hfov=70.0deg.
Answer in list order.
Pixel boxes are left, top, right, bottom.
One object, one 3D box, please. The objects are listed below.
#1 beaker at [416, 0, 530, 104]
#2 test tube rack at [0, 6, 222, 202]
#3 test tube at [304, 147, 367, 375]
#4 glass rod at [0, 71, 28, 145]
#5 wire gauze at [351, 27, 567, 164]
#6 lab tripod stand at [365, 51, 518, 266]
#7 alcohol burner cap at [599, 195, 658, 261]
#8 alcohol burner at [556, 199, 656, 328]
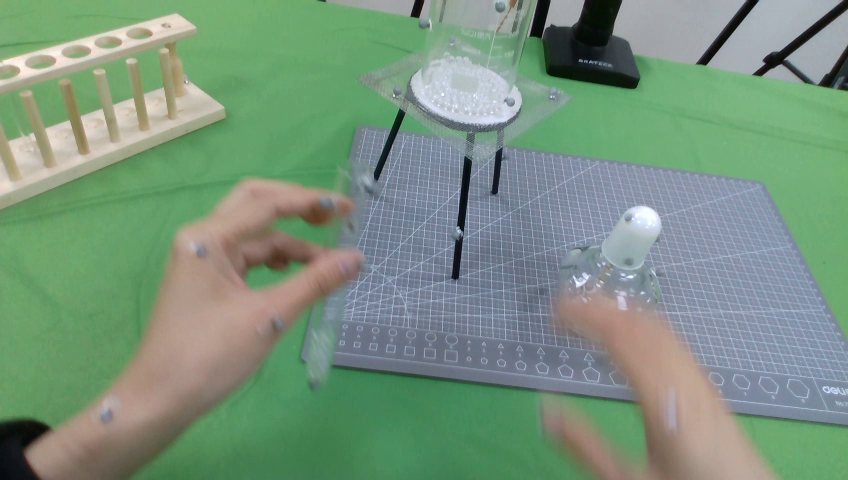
[{"bbox_3d":[0.032,-0.155,0.425,0.084,0.101,0.073,3,47,-7],"label":"beaker"},{"bbox_3d":[-0.303,-0.121,0.528,0.066,0.086,0.242,37,51,23],"label":"test tube rack"},{"bbox_3d":[-0.049,0.019,0.322,0.017,0.151,0.017,10,35,-7],"label":"test tube"},{"bbox_3d":[-0.343,-0.161,0.466,0.008,0.201,0.008,3,38,-2],"label":"glass rod"},{"bbox_3d":[0.028,-0.119,0.460,0.124,0.011,0.121,39,54,20],"label":"wire gauze"},{"bbox_3d":[0.022,-0.074,0.506,0.149,0.132,0.147,7,46,-7],"label":"lab tripod stand"},{"bbox_3d":[0.148,-0.011,0.433,0.034,0.048,0.033,5,50,-5],"label":"alcohol burner cap"},{"bbox_3d":[0.143,0.013,0.459,0.078,0.120,0.077,7,44,-6],"label":"alcohol burner"}]
